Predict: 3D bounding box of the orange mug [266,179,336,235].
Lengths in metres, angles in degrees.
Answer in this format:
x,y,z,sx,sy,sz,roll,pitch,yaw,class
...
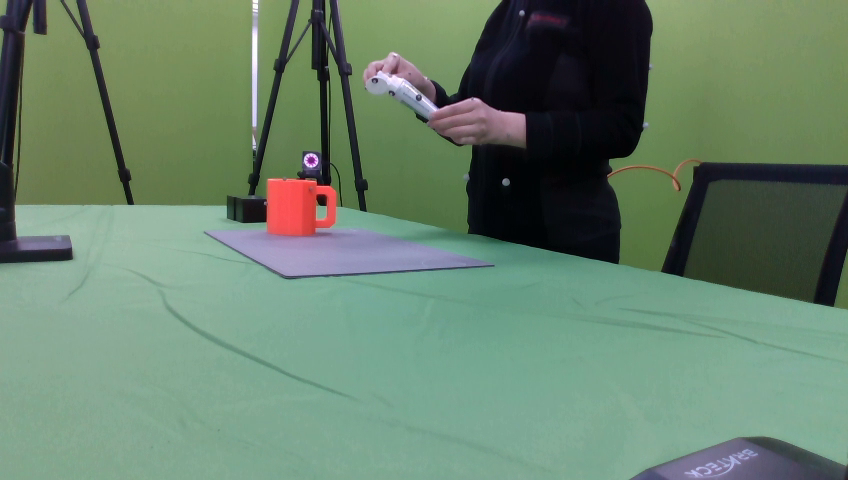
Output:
x,y,z,sx,sy,sz,roll,pitch,yaw,class
-0.222,-0.062,1.094,0.127,0.101,0.083,-5,10,-22,orange mug

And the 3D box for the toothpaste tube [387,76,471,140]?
x,y,z,sx,sy,sz,roll,pitch,yaw,class
0.006,-0.214,0.984,0.165,0.034,0.055,31,20,-15,toothpaste tube

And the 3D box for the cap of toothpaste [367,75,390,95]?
x,y,z,sx,sy,sz,roll,pitch,yaw,class
-0.071,-0.244,0.946,0.037,0.011,0.037,-4,-36,-2,cap of toothpaste

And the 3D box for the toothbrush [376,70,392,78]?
x,y,z,sx,sy,sz,roll,pitch,yaw,class
-0.065,-0.282,1.044,0.017,0.014,0.181,22,13,-4,toothbrush
